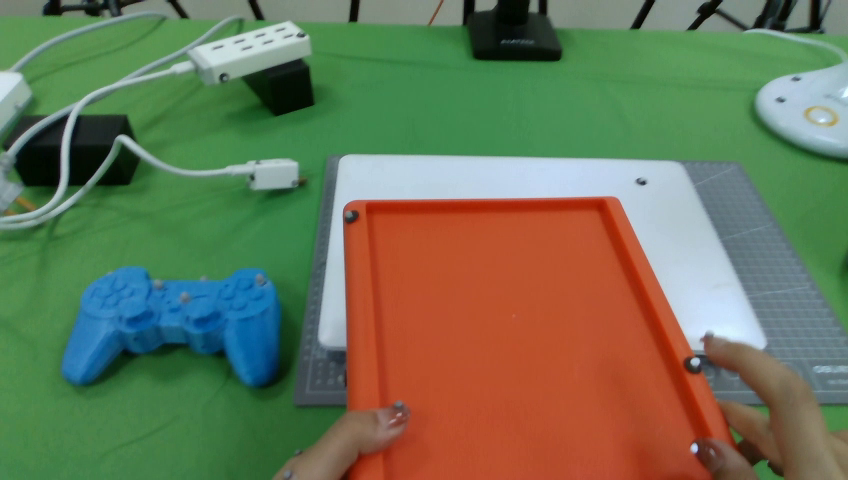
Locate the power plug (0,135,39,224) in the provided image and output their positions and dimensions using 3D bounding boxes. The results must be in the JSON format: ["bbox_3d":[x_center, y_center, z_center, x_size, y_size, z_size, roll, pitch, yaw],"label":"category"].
[{"bbox_3d":[-0.365,-0.052,0.549,0.072,0.053,0.035,-52,32,-8],"label":"power plug"}]

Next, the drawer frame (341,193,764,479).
[{"bbox_3d":[0.052,0.072,0.370,0.202,0.083,0.211,-2,46,-9],"label":"drawer frame"}]

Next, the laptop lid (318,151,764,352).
[{"bbox_3d":[0.092,-0.001,0.541,0.357,0.013,0.239,2,48,-1],"label":"laptop lid"}]

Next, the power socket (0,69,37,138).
[{"bbox_3d":[-0.482,-0.111,0.621,0.072,0.033,0.224,4,45,-1],"label":"power socket"}]

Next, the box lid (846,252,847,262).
[{"bbox_3d":[0.537,-0.122,0.543,0.015,0.264,0.371,45,56,7],"label":"box lid"}]

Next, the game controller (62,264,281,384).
[{"bbox_3d":[-0.186,0.059,0.463,0.155,0.052,0.096,2,42,-2],"label":"game controller"}]

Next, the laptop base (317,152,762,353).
[{"bbox_3d":[0.092,0.005,0.551,0.355,0.023,0.233,1,49,-3],"label":"laptop base"}]

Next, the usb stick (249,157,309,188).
[{"bbox_3d":[-0.141,-0.067,0.597,0.059,0.027,0.021,-7,22,-40],"label":"usb stick"}]

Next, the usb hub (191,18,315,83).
[{"bbox_3d":[-0.188,-0.211,0.673,0.125,0.025,0.049,-28,54,-26],"label":"usb hub"}]

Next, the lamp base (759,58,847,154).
[{"bbox_3d":[0.494,-0.215,0.676,0.159,0.182,0.179,30,49,24],"label":"lamp base"}]

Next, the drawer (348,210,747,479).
[{"bbox_3d":[0.055,0.075,0.369,0.195,0.074,0.209,-1,47,-9],"label":"drawer"}]
